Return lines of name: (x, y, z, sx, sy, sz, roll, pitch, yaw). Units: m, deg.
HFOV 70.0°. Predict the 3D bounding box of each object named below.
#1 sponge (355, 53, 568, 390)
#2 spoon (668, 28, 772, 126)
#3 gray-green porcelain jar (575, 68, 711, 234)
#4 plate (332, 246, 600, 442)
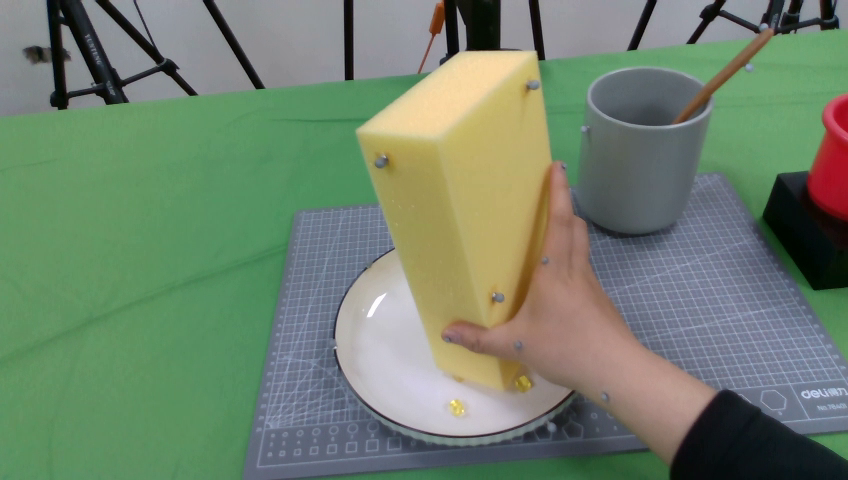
sponge: (0.040, -0.010, 0.425, 0.060, 0.209, 0.118, 12, 45, 35)
spoon: (0.222, -0.100, 0.527, 0.022, 0.194, 0.041, 26, 40, -6)
gray-green porcelain jar: (0.196, -0.077, 0.561, 0.106, 0.128, 0.105, -4, 43, 4)
plate: (0.033, 0.071, 0.486, 0.207, 0.039, 0.205, -3, 43, 3)
